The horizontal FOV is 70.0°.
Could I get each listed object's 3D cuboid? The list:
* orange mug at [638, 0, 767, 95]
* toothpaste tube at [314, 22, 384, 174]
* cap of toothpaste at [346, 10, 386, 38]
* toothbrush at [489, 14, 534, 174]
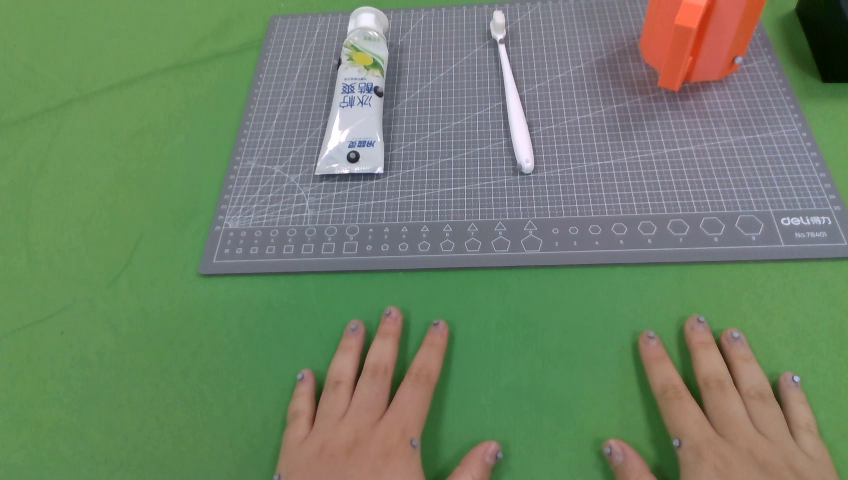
[{"bbox_3d":[0.214,-0.176,0.470,0.083,0.102,0.125,23,56,21],"label":"orange mug"},{"bbox_3d":[-0.057,-0.123,0.505,0.055,0.035,0.163,-4,59,9],"label":"toothpaste tube"},{"bbox_3d":[-0.052,-0.189,0.543,0.037,0.037,0.011,2,61,7],"label":"cap of toothpaste"},{"bbox_3d":[0.072,-0.126,0.500,0.014,0.017,0.180,1,56,-9],"label":"toothbrush"}]
